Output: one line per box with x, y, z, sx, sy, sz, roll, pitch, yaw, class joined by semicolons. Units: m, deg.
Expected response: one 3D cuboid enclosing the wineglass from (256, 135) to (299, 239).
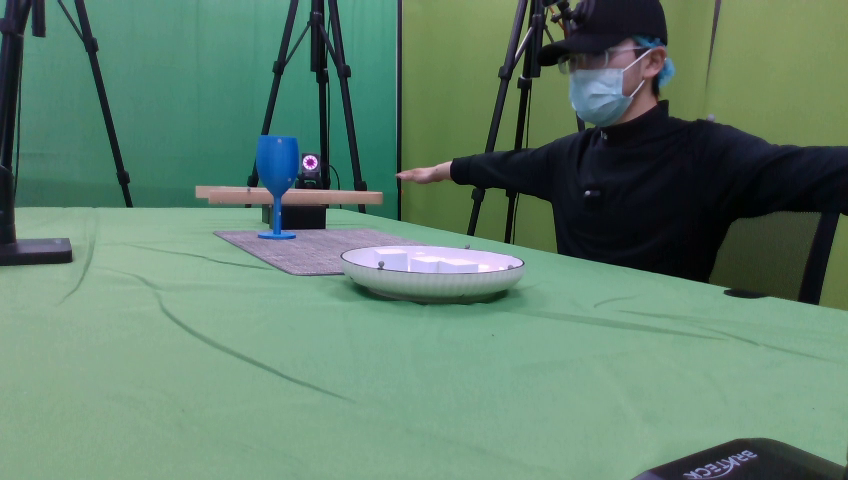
-0.252;-0.091;1.035;0.074;0.172;0.073;2;7;0;wineglass

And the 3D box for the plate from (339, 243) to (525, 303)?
0.008;0.035;0.682;0.209;0.038;0.209;3;7;0;plate

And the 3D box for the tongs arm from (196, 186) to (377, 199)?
-0.288;-0.098;1.312;0.389;0.028;0.028;0;2;-21;tongs arm

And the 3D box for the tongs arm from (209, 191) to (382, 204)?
-0.248;-0.088;1.242;0.387;0.026;0.050;-2;7;-34;tongs arm
